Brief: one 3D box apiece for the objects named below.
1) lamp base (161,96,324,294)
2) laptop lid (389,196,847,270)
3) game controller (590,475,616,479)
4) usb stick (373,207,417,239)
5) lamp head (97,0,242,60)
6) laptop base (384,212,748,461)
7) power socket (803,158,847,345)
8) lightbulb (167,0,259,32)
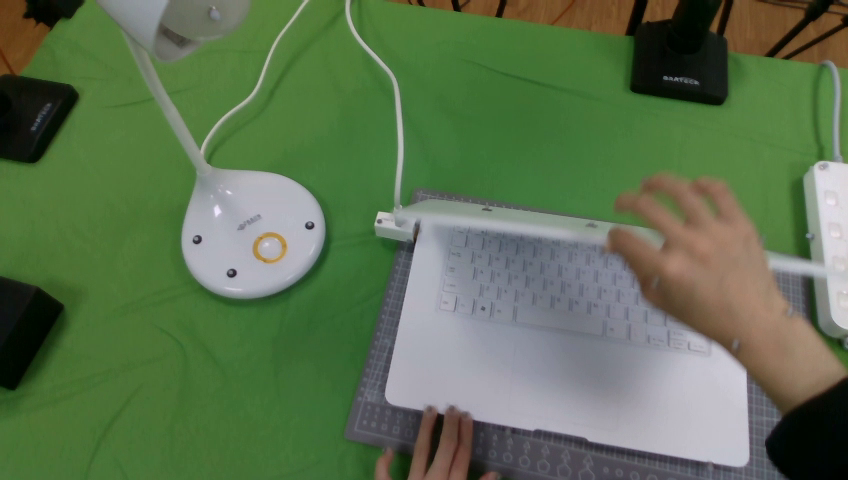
[{"bbox_3d":[-0.207,-0.055,0.628,0.178,0.182,0.160,36,69,21],"label":"lamp base"},{"bbox_3d":[0.158,-0.015,0.568,0.356,0.241,0.013,8,96,8],"label":"laptop lid"},{"bbox_3d":[0.200,0.266,0.528,0.155,0.052,0.096,11,61,7],"label":"game controller"},{"bbox_3d":[-0.026,-0.018,0.680,0.059,0.027,0.021,12,59,5],"label":"usb stick"},{"bbox_3d":[-0.166,-0.184,0.352,0.123,0.112,0.112,37,67,-7],"label":"lamp head"},{"bbox_3d":[0.152,0.083,0.639,0.354,0.023,0.234,8,67,6],"label":"laptop base"},{"bbox_3d":[0.464,0.005,0.663,0.072,0.033,0.225,10,63,5],"label":"power socket"},{"bbox_3d":[-0.136,-0.174,0.347,0.059,0.059,0.108,-28,104,-12],"label":"lightbulb"}]
